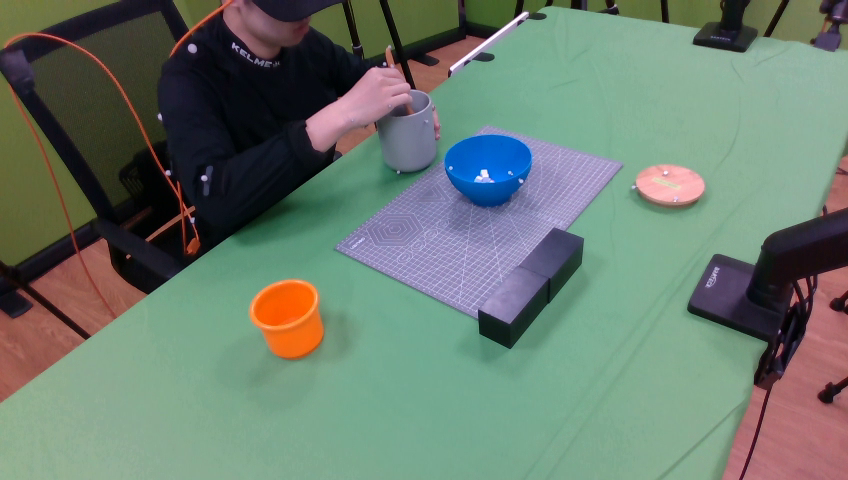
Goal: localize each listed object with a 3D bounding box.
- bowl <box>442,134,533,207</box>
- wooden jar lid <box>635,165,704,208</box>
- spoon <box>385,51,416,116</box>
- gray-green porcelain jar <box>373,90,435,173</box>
[{"bbox_3d":[0.110,-0.109,1.033,0.151,0.077,0.150,-4,41,4],"label":"bowl"},{"bbox_3d":[0.411,-0.089,1.014,0.108,0.021,0.108,-5,42,5],"label":"wooden jar lid"},{"bbox_3d":[-0.031,-0.247,1.080,0.021,0.195,0.041,4,44,41],"label":"spoon"},{"bbox_3d":[-0.034,-0.198,1.125,0.106,0.127,0.105,-4,41,4],"label":"gray-green porcelain jar"}]
